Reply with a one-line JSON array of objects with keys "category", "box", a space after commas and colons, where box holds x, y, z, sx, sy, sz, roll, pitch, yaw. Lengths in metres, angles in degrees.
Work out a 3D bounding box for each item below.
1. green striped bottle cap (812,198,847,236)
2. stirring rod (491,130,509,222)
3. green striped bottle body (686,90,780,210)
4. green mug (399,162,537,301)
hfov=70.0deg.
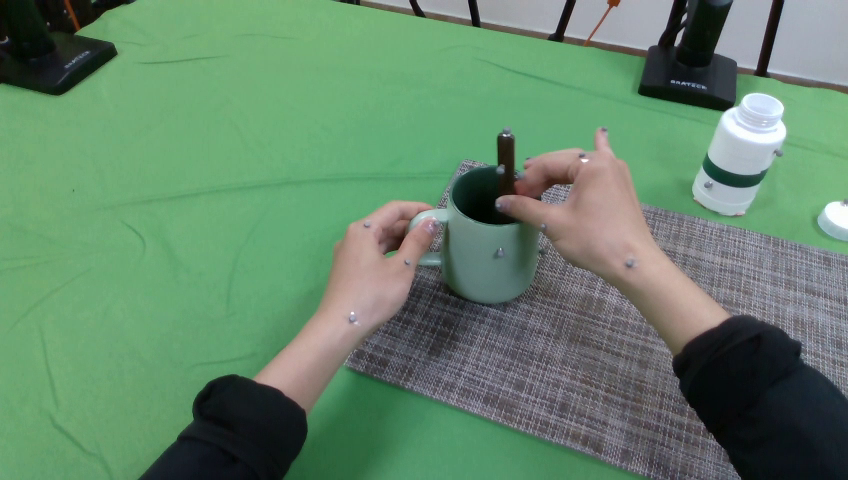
[{"category": "green striped bottle cap", "box": [0.432, -0.024, 0.632, 0.044, 0.020, 0.044, 1, 43, 0]}, {"category": "stirring rod", "box": [0.065, -0.026, 0.511, 0.014, 0.178, 0.006, 11, 56, 16]}, {"category": "green striped bottle body", "box": [0.320, -0.094, 0.625, 0.063, 0.120, 0.062, 0, 47, 0]}, {"category": "green mug", "box": [0.040, -0.004, 0.548, 0.125, 0.106, 0.091, -7, 48, -6]}]
